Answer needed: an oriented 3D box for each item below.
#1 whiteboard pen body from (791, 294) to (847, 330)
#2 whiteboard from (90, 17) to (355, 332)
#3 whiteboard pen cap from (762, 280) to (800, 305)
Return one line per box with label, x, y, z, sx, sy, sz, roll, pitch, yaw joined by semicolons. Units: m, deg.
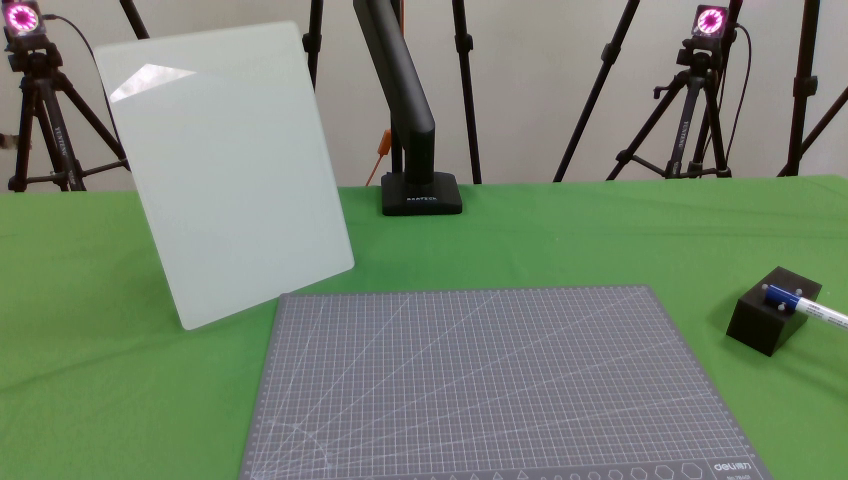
whiteboard pen body;0.420;0.079;0.609;0.139;0.017;0.017;28;41;36
whiteboard;-0.240;-0.085;0.726;0.218;0.307;0.142;-22;20;-31
whiteboard pen cap;0.379;0.056;0.642;0.018;0.018;0.033;-27;42;-37
